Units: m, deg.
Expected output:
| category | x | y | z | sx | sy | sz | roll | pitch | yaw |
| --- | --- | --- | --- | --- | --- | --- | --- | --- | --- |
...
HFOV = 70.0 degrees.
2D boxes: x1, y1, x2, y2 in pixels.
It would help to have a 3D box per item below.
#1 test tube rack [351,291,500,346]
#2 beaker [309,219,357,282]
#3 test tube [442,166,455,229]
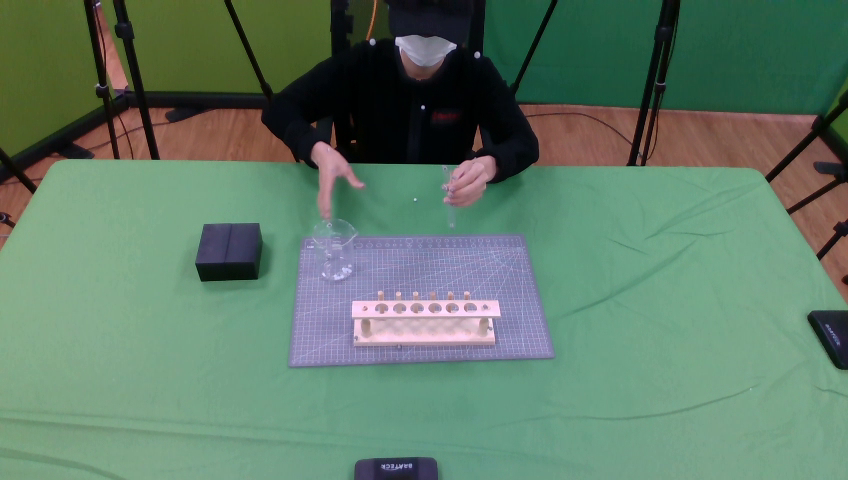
| category | x | y | z | sx | sy | sz | roll | pitch | yaw |
| --- | --- | --- | --- | --- | --- | --- | --- | --- | --- |
| test tube rack | 0.001 | 0.129 | 1.026 | 0.242 | 0.085 | 0.066 | 0 | 46 | -4 |
| beaker | -0.164 | 0.021 | 1.107 | 0.084 | 0.101 | 0.073 | -5 | 47 | -11 |
| test tube | 0.044 | -0.072 | 1.074 | 0.017 | 0.151 | 0.017 | -3 | 50 | 4 |
